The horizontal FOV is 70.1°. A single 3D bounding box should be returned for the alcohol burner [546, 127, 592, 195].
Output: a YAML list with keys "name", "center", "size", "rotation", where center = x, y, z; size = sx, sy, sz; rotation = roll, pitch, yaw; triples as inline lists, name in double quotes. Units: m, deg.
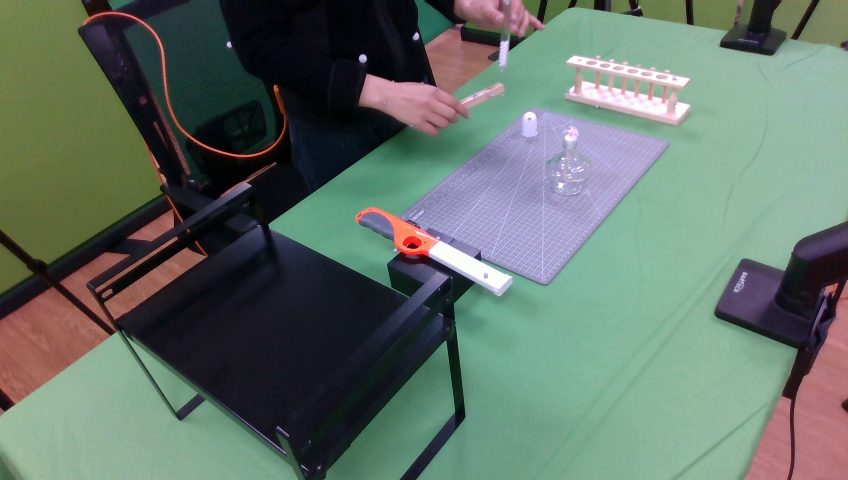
- name: "alcohol burner"
  center: [0.247, -0.137, 1.024]
  size: [0.078, 0.119, 0.077]
  rotation: [-4, 38, 4]

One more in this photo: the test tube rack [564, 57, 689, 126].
- name: "test tube rack"
  center: [0.411, -0.311, 1.230]
  size: [0.240, 0.085, 0.067]
  rotation: [23, 49, 32]

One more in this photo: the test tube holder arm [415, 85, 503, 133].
- name: "test tube holder arm"
  center: [0.063, -0.234, 1.072]
  size: [0.179, 0.015, 0.013]
  rotation: [-29, 31, -15]

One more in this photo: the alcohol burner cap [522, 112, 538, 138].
- name: "alcohol burner cap"
  center: [0.210, -0.230, 1.195]
  size: [0.034, 0.048, 0.033]
  rotation: [-5, 41, 5]

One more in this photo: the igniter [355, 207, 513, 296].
- name: "igniter"
  center: [0.006, 0.010, 0.885]
  size: [0.274, 0.025, 0.057]
  rotation: [27, 53, 30]

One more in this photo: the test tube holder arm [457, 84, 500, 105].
- name: "test tube holder arm"
  center: [0.099, -0.258, 1.088]
  size: [0.088, 0.015, 0.010]
  rotation: [-28, 31, -13]

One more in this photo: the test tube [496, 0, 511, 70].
- name: "test tube"
  center: [0.138, -0.368, 1.036]
  size: [0.017, 0.150, 0.017]
  rotation: [2, 31, -1]
